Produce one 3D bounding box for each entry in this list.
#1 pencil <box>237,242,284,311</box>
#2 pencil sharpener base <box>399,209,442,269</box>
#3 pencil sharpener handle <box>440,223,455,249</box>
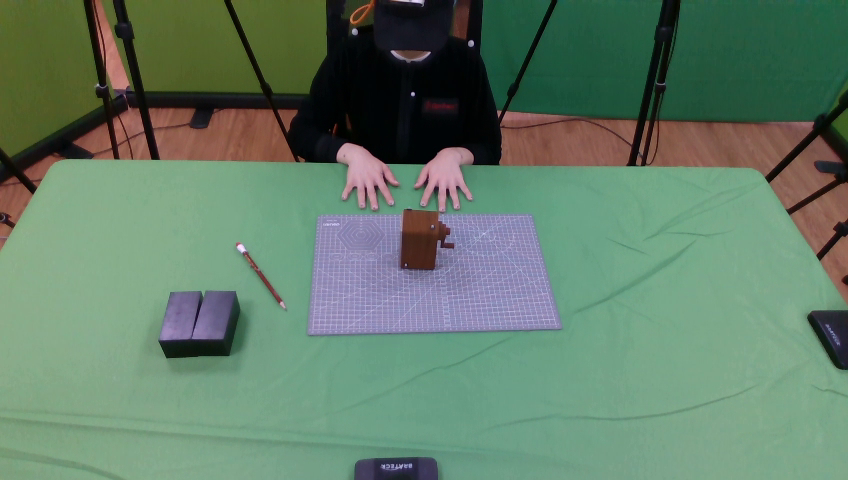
[{"bbox_3d":[-0.303,0.066,1.122,0.012,0.012,0.193,-26,54,-26],"label":"pencil"},{"bbox_3d":[-0.007,0.000,1.134,0.077,0.107,0.061,3,46,-1],"label":"pencil sharpener base"},{"bbox_3d":[0.045,-0.007,1.128,0.030,0.068,0.036,3,52,-1],"label":"pencil sharpener handle"}]
